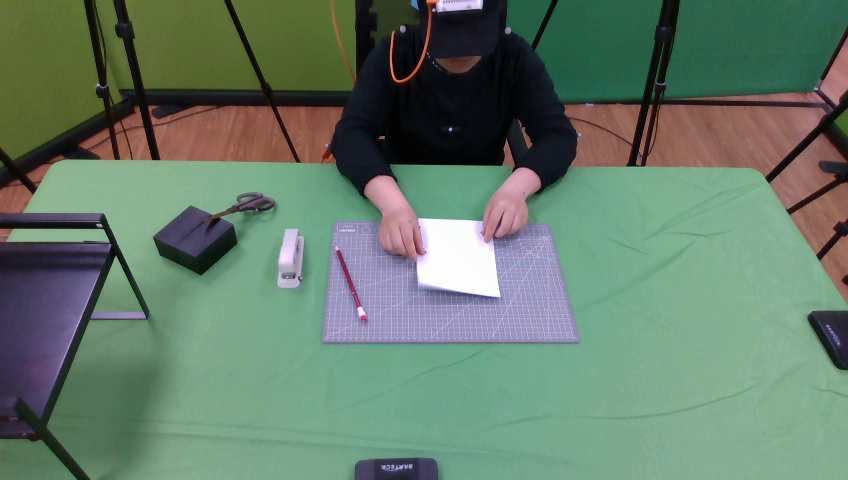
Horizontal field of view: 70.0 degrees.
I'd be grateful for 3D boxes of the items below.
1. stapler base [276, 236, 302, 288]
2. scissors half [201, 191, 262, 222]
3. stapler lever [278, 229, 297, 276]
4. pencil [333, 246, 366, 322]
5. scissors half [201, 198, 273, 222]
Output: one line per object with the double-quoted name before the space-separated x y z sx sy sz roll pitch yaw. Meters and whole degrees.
"stapler base" -0.254 0.034 1.144 0.041 0.024 0.129 1 44 -7
"scissors half" -0.381 -0.066 1.198 0.040 0.013 0.175 25 28 9
"stapler lever" -0.253 0.016 1.128 0.027 0.040 0.117 1 45 -7
"pencil" -0.140 0.077 1.116 0.012 0.012 0.192 -14 48 -17
"scissors half" -0.365 -0.055 1.192 0.040 0.013 0.175 39 32 22
